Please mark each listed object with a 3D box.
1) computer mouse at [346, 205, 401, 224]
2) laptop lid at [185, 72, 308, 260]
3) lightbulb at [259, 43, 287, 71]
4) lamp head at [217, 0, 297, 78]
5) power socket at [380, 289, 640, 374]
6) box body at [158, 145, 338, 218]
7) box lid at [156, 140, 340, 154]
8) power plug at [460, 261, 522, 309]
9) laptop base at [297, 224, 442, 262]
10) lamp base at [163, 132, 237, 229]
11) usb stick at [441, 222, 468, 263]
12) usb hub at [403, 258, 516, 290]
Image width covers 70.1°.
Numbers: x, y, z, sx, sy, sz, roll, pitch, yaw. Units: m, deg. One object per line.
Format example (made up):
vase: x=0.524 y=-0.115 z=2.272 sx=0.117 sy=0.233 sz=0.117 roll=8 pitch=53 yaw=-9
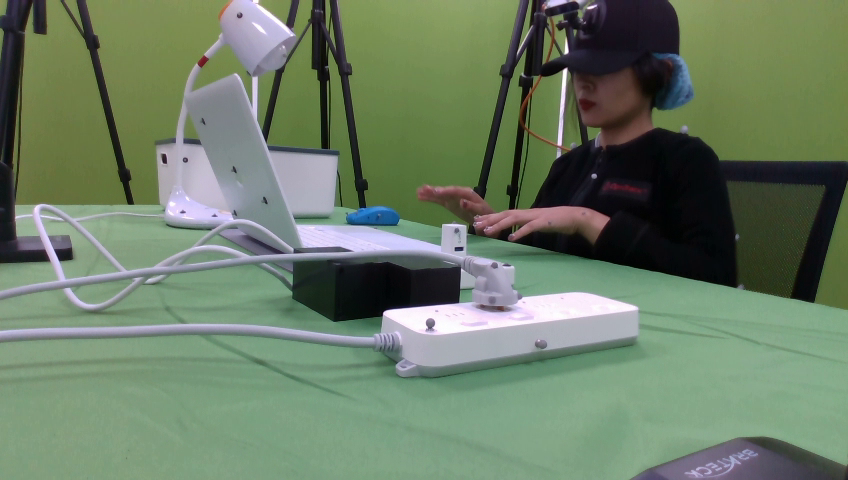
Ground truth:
computer mouse: x=-0.112 y=-0.055 z=1.335 sx=0.118 sy=0.041 sz=0.062 roll=-5 pitch=11 yaw=-21
laptop lid: x=-0.262 y=-0.101 z=0.850 sx=0.013 sy=0.242 sz=0.355 roll=-26 pitch=21 yaw=-25
lightbulb: x=-0.295 y=-0.358 z=1.103 sx=0.059 sy=0.107 sz=0.059 roll=-37 pitch=0 yaw=0
lamp head: x=-0.315 y=-0.372 z=1.102 sx=0.123 sy=0.112 sz=0.112 roll=41 pitch=3 yaw=-9
power socket: x=0.072 y=0.064 z=0.461 sx=0.228 sy=0.032 sz=0.072 roll=-3 pitch=7 yaw=-30
box body: x=-0.410 y=-0.139 z=1.414 sx=0.366 sy=0.160 sz=0.253 roll=-3 pitch=8 yaw=-33
box lid: x=-0.409 y=-0.213 z=1.404 sx=0.373 sy=0.015 sz=0.262 roll=-2 pitch=8 yaw=-32
power plug: x=0.043 y=0.043 z=0.444 sx=0.035 sy=0.052 sz=0.073 roll=-4 pitch=7 yaw=44
laptop base: x=-0.127 y=0.003 z=0.946 sx=0.237 sy=0.023 sz=0.352 roll=2 pitch=6 yaw=-31
lamp base: x=-0.419 y=-0.116 z=1.156 sx=0.179 sy=0.180 sz=0.160 roll=0 pitch=7 yaw=0
usb stick: x=0.034 y=0.009 z=0.685 sx=0.021 sy=0.059 sz=0.027 roll=-3 pitch=10 yaw=-31
usb hub: x=0.042 y=0.038 z=0.690 sx=0.126 sy=0.025 sz=0.049 roll=-2 pitch=9 yaw=-30
